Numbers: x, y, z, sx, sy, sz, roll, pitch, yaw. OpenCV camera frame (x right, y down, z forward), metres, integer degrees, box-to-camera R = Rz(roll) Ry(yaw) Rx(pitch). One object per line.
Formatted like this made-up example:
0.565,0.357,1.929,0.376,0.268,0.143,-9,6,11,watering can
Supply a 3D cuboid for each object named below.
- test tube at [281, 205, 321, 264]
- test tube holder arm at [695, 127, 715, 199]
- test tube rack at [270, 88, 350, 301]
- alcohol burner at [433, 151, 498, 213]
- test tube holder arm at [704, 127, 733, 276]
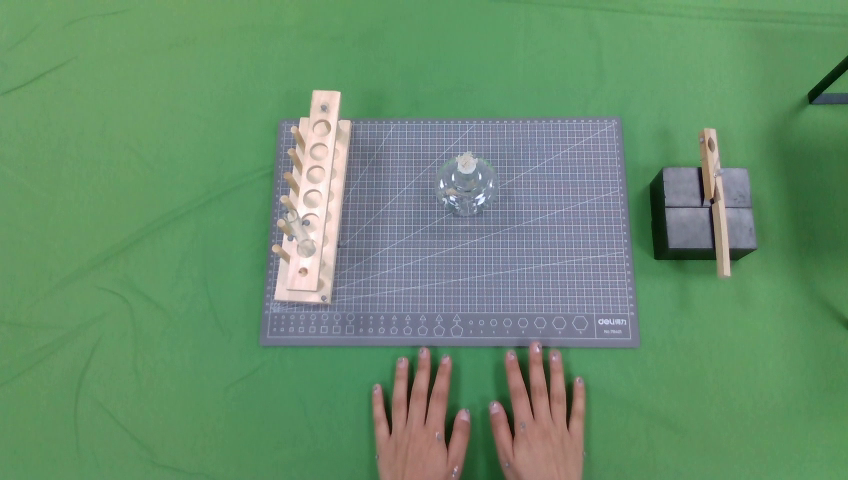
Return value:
-0.131,-0.001,0.661,0.017,0.151,0.017,0,69,1,test tube
0.330,-0.090,0.710,0.010,0.015,0.087,0,74,-4,test tube holder arm
-0.140,-0.054,0.727,0.067,0.085,0.241,4,75,3,test tube rack
0.049,-0.075,0.713,0.078,0.119,0.077,-1,76,3,alcohol burner
0.337,-0.047,0.699,0.013,0.015,0.177,-1,74,-4,test tube holder arm
